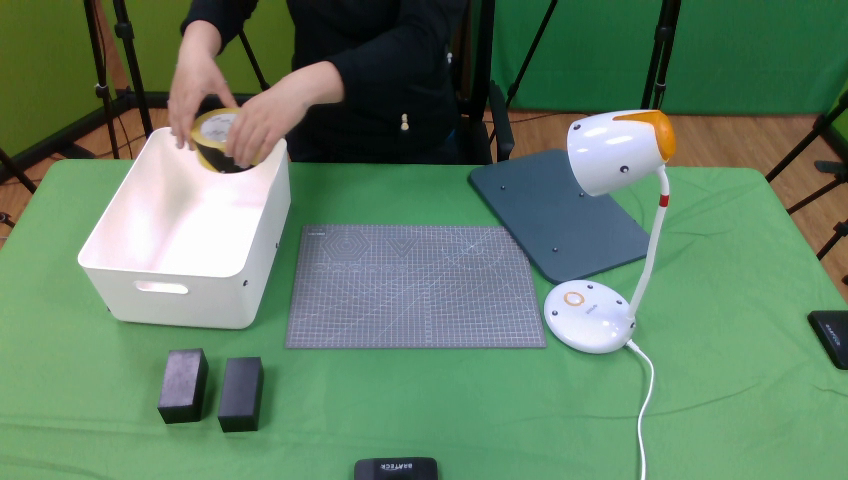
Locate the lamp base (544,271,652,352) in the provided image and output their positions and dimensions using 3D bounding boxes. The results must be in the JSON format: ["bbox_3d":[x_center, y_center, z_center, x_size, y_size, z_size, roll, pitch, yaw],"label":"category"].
[{"bbox_3d":[0.309,0.086,1.029,0.178,0.181,0.160,32,52,21],"label":"lamp base"}]

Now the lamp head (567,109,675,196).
[{"bbox_3d":[0.272,-0.123,0.818,0.122,0.113,0.112,-9,35,37],"label":"lamp head"}]

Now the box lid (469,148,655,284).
[{"bbox_3d":[0.285,-0.064,1.289,0.263,0.015,0.369,-16,49,-19],"label":"box lid"}]

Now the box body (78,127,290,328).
[{"bbox_3d":[-0.400,-0.027,1.095,0.254,0.161,0.362,4,46,0],"label":"box body"}]

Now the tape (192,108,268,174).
[{"bbox_3d":[-0.313,-0.162,0.982,0.117,0.053,0.116,1,45,-1],"label":"tape"}]
